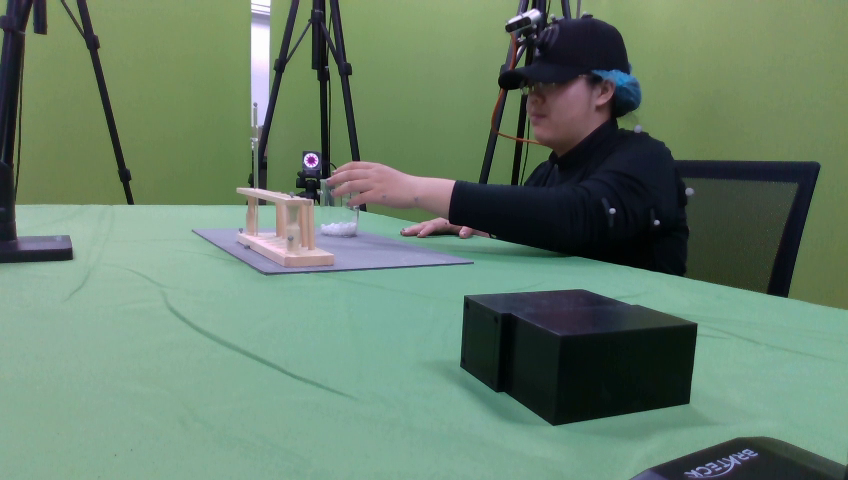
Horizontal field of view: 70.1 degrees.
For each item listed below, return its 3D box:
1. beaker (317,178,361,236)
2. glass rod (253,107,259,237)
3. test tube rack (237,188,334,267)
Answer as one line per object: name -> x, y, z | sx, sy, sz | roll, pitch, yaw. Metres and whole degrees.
beaker -> -0.150, -0.059, 1.087 | 0.083, 0.100, 0.074 | 9, 10, 40
glass rod -> -0.254, -0.101, 0.912 | 0.008, 0.199, 0.008 | 1, 4, 0
test tube rack -> -0.202, -0.024, 0.855 | 0.067, 0.085, 0.241 | -2, 8, -30
